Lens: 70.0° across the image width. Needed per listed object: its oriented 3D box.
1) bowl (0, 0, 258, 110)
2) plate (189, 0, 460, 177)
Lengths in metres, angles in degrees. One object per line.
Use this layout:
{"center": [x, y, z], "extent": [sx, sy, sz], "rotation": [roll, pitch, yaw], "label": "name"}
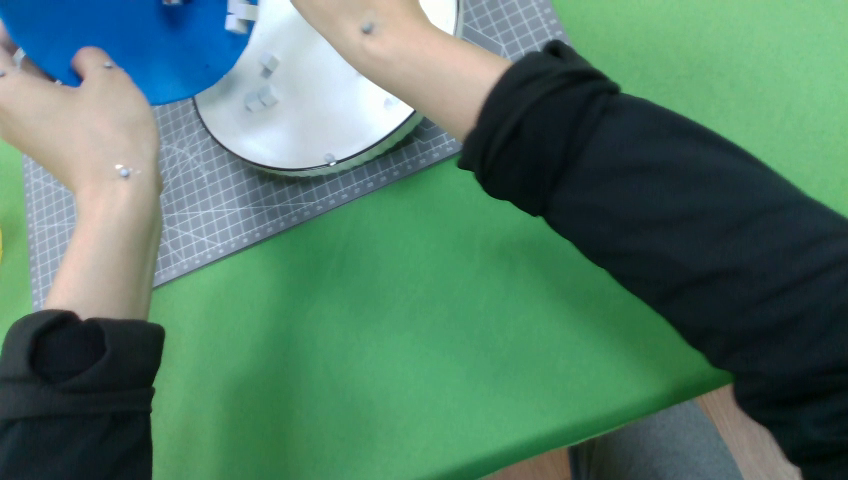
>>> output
{"center": [-0.191, -0.167, 0.384], "extent": [0.151, 0.153, 0.076], "rotation": [-48, 41, 0], "label": "bowl"}
{"center": [-0.072, -0.138, 0.436], "extent": [0.208, 0.038, 0.208], "rotation": [-5, 73, 16], "label": "plate"}
